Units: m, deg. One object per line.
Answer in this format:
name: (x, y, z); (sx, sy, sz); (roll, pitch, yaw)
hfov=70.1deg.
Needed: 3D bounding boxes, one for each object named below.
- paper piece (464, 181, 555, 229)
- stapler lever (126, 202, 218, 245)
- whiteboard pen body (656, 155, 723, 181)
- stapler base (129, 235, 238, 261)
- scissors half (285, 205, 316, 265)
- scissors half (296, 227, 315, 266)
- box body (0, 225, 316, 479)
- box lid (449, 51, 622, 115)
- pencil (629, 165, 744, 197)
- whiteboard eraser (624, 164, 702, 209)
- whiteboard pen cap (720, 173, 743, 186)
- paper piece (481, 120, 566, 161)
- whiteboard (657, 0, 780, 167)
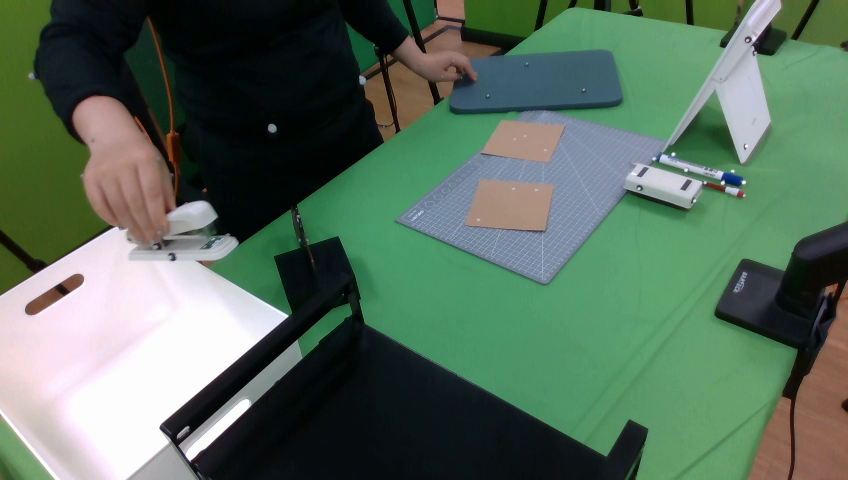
paper piece: (0.149, -0.062, 1.034); (0.137, 0.009, 0.136); (4, 37, 17)
stapler lever: (-0.280, -0.018, 0.666); (0.117, 0.040, 0.027); (-3, 27, 21)
whiteboard pen body: (0.475, -0.122, 1.052); (0.139, 0.017, 0.017); (24, 50, 32)
stapler base: (-0.273, 0.003, 0.677); (0.130, 0.024, 0.041); (-3, 27, 21)
scissors half: (-0.192, -0.009, 0.945); (0.013, 0.040, 0.173); (-25, 41, -11)
scissors half: (-0.187, 0.007, 0.956); (0.013, 0.040, 0.174); (-29, 25, -8)
box body: (-0.339, 0.162, 0.728); (0.361, 0.161, 0.255); (23, 48, 31)
box lid: (0.250, -0.358, 1.370); (0.371, 0.015, 0.262); (-1, 40, 9)
pencil: (0.447, -0.103, 1.038); (0.192, 0.012, 0.012); (21, 48, 29)
whiteboard eraser: (0.396, -0.086, 1.003); (0.112, 0.042, 0.056); (22, 47, 31)
whiteboard pen cap: (0.519, -0.103, 1.020); (0.033, 0.018, 0.018); (23, 49, 30)
paper piece: (0.197, -0.198, 1.188); (0.135, 0.004, 0.135); (11, 43, 21)
whiteboard: (0.571, -0.272, 1.038); (0.143, 0.306, 0.218); (37, 54, 17)
